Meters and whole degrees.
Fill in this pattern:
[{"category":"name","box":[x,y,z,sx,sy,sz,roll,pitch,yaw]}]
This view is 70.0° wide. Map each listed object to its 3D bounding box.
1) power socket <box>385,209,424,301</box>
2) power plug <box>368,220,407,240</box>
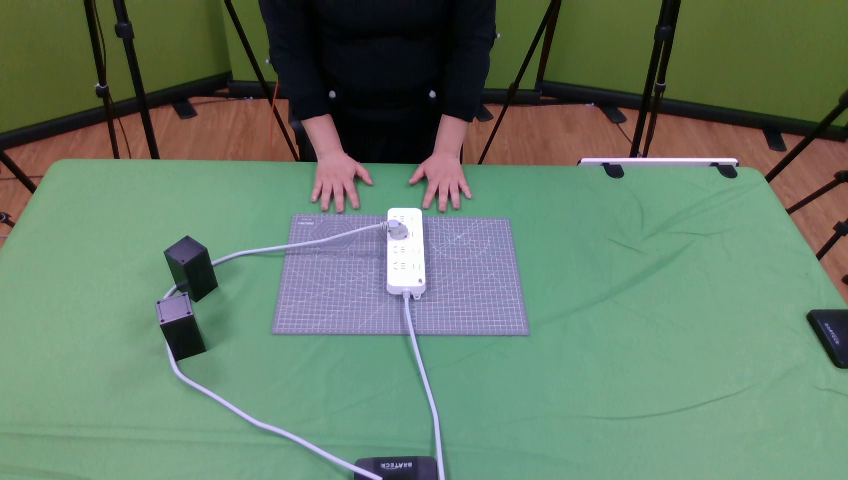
[{"category":"power socket","box":[-0.039,0.019,1.165,0.072,0.033,0.225,0,46,-3]},{"category":"power plug","box":[-0.068,-0.017,1.173,0.072,0.053,0.035,6,44,5]}]
